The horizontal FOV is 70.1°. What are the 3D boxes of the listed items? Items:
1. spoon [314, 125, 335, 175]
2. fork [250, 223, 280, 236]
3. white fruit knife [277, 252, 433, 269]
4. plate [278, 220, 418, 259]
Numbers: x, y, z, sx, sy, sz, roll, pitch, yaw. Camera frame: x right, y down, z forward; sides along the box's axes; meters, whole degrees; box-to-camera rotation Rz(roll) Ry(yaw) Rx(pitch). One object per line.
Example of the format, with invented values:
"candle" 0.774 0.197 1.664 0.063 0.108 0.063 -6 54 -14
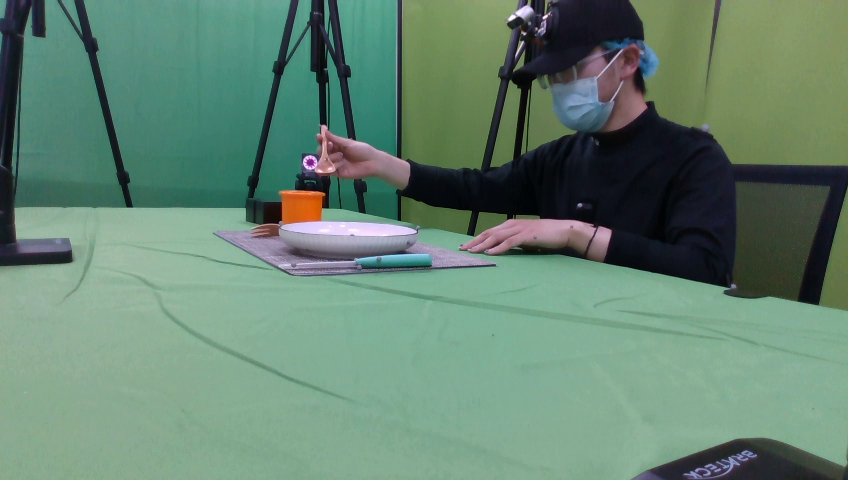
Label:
"spoon" -0.205 -0.189 1.245 0.042 0.021 0.193 -3 44 -7
"fork" -0.194 -0.014 1.051 0.208 0.028 0.018 3 38 -14
"white fruit knife" -0.082 0.029 0.772 0.208 0.016 0.027 -3 -20 -22
"plate" -0.114 -0.002 0.914 0.209 0.038 0.209 2 7 0
